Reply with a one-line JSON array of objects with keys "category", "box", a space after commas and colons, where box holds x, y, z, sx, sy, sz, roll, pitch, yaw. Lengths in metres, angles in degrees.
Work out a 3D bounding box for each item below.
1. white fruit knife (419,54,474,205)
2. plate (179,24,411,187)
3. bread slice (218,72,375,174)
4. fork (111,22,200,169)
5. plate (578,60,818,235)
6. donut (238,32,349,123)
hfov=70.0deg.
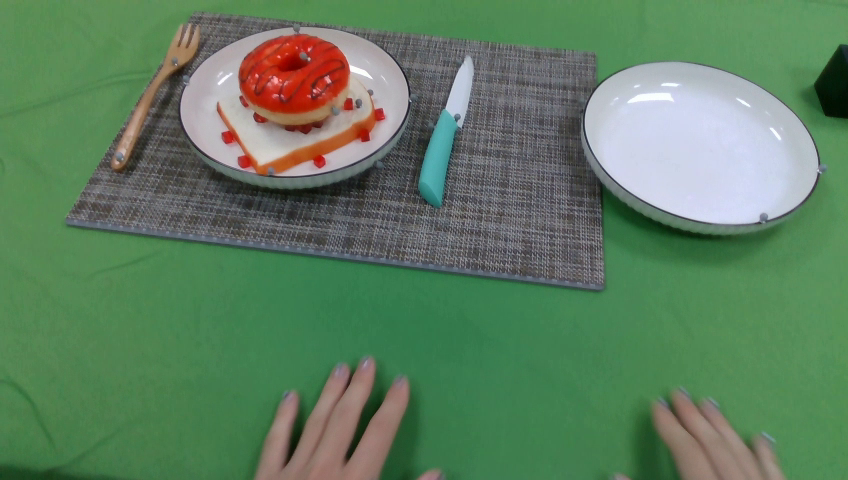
[{"category": "white fruit knife", "box": [0.025, -0.116, 0.582, 0.027, 0.016, 0.206, 29, 51, -17]}, {"category": "plate", "box": [-0.117, -0.125, 0.567, 0.209, 0.038, 0.207, 1, 55, -1]}, {"category": "bread slice", "box": [-0.114, -0.120, 0.566, 0.131, 0.019, 0.104, -28, 60, -19]}, {"category": "fork", "box": [-0.259, -0.147, 0.589, 0.028, 0.019, 0.205, 10, 52, -4]}, {"category": "plate", "box": [0.243, -0.084, 0.555, 0.208, 0.039, 0.205, 1, 54, -1]}, {"category": "donut", "box": [-0.115, -0.146, 0.538, 0.099, 0.048, 0.098, 1, 54, -1]}]
